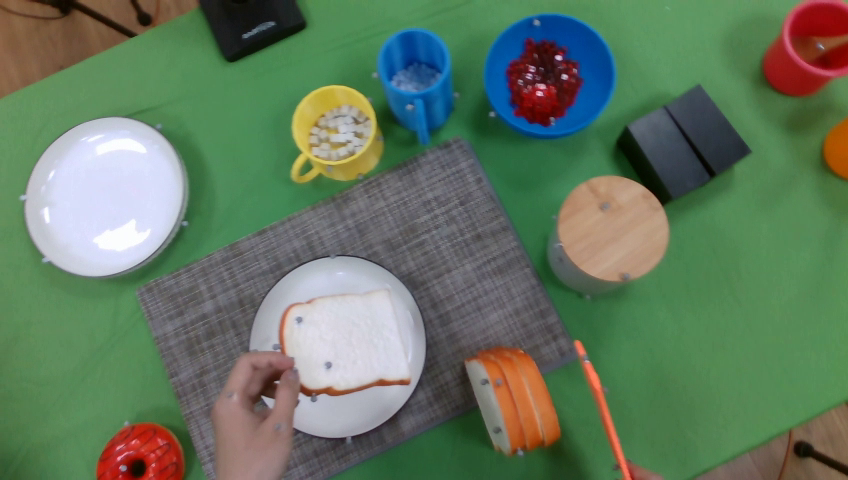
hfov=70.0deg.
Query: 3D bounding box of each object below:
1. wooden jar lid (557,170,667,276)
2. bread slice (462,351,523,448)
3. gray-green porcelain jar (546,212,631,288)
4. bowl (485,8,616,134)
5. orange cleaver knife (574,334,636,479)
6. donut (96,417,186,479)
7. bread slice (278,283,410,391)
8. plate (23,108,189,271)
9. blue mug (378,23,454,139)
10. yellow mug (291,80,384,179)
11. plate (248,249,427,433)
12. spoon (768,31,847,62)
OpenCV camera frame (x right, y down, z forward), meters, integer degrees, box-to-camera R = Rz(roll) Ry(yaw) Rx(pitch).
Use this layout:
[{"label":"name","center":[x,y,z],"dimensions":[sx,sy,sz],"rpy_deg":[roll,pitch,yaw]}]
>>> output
[{"label":"wooden jar lid","center":[0.187,-0.016,0.608],"dimensions":[0.108,0.021,0.108],"rpy_deg":[0,80,1]},{"label":"bread slice","center":[0.072,0.164,0.641],"dimensions":[0.018,0.135,0.106],"rpy_deg":[-18,77,-8]},{"label":"gray-green porcelain jar","center":[0.192,-0.003,0.669],"dimensions":[0.106,0.127,0.105],"rpy_deg":[-1,79,4]},{"label":"bowl","center":[0.148,-0.190,0.732],"dimensions":[0.151,0.077,0.150],"rpy_deg":[-1,79,4]},{"label":"orange cleaver knife","center":[0.186,0.195,0.596],"dimensions":[0.012,0.077,0.212],"rpy_deg":[-20,99,6]},{"label":"donut","center":[-0.323,0.254,0.695],"dimensions":[0.099,0.048,0.098],"rpy_deg":[0,78,2]},{"label":"bread slice","center":[-0.080,0.099,0.610],"dimensions":[0.132,0.019,0.104],"rpy_deg":[-4,69,-32]},{"label":"plate","center":[-0.393,-0.062,0.763],"dimensions":[0.207,0.039,0.206],"rpy_deg":[-1,79,3]},{"label":"blue mug","center":[-0.005,-0.179,0.726],"dimensions":[0.082,0.106,0.116],"rpy_deg":[-6,79,3]},{"label":"yellow mug","center":[-0.114,-0.125,0.743],"dimensions":[0.099,0.064,0.131],"rpy_deg":[42,86,11]},{"label":"plate","center":[-0.098,0.115,0.706],"dimensions":[0.209,0.038,0.208],"rpy_deg":[-1,79,4]},{"label":"spoon","center":[0.496,-0.233,0.683],"dimensions":[0.192,0.022,0.041],"rpy_deg":[3,70,50]}]
